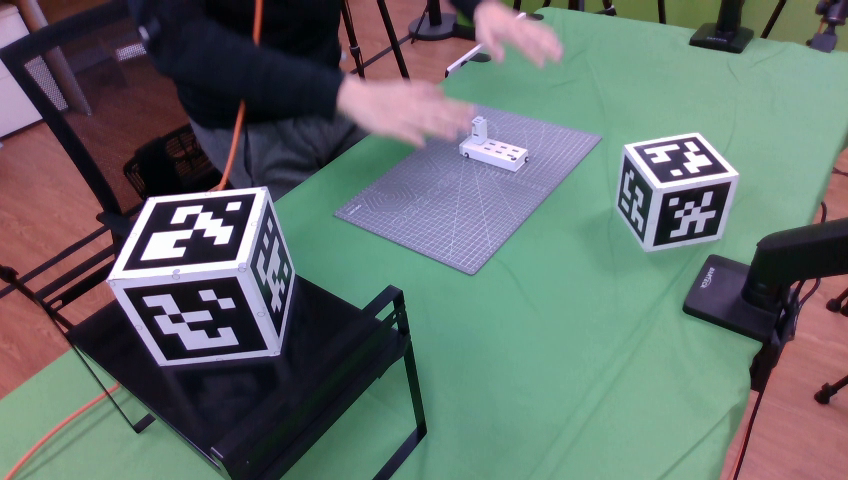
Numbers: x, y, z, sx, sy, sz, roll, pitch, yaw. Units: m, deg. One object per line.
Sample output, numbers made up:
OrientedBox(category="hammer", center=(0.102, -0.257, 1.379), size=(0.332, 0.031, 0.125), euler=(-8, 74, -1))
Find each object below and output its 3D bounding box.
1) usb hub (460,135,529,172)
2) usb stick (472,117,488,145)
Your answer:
OrientedBox(category="usb hub", center=(0.132, -0.165, 1.138), size=(0.124, 0.025, 0.049), euler=(22, 49, 30))
OrientedBox(category="usb stick", center=(0.106, -0.199, 1.137), size=(0.021, 0.059, 0.027), euler=(20, 50, 28))
